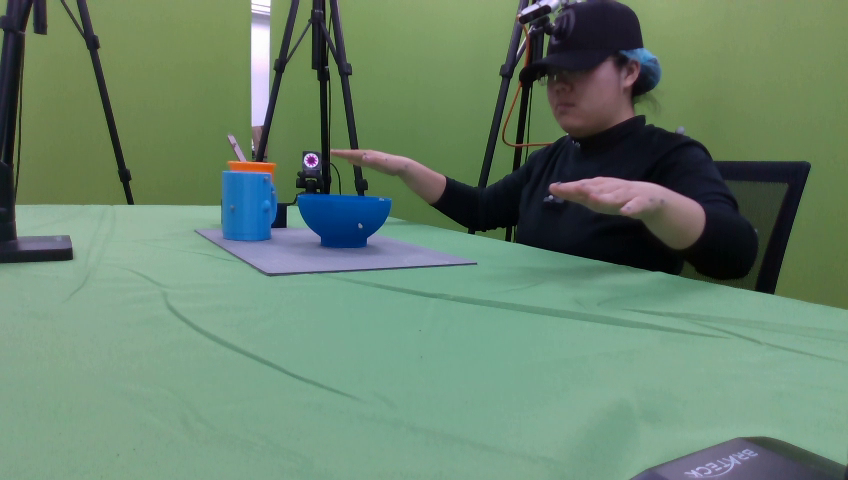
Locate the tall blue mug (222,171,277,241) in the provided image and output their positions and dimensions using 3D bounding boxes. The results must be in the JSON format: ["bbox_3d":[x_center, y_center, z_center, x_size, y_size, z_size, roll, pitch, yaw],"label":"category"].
[{"bbox_3d":[-0.290,-0.059,1.003,0.078,0.108,0.107,1,7,-6],"label":"tall blue mug"}]

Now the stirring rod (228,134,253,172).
[{"bbox_3d":[-0.353,-0.148,1.197,0.014,0.006,0.175,-4,52,-46],"label":"stirring rod"}]

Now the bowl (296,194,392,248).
[{"bbox_3d":[-0.128,-0.030,0.964,0.151,0.077,0.151,2,7,0],"label":"bowl"}]
